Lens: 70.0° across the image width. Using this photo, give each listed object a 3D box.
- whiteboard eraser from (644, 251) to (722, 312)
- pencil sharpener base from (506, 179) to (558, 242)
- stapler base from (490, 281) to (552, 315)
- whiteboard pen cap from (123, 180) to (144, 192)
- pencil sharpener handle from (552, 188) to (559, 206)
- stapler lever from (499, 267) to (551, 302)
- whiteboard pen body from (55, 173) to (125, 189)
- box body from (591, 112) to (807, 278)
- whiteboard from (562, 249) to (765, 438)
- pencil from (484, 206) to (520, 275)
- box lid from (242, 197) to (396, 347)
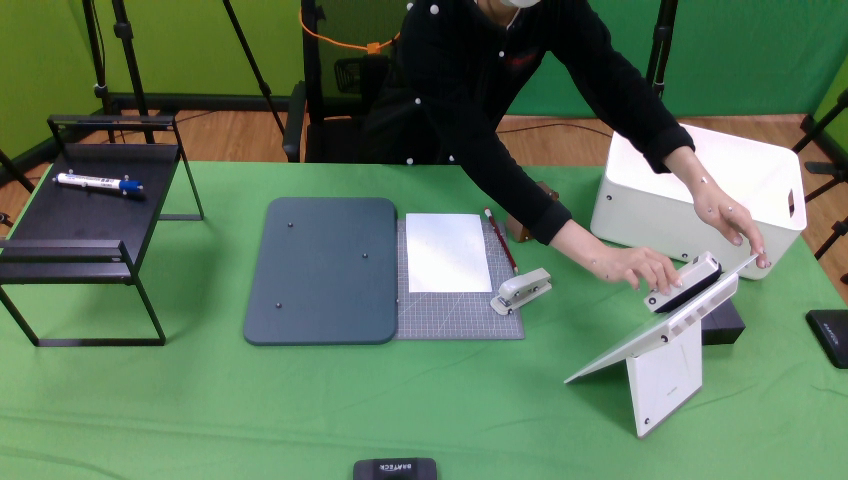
[{"bbox_3d":[0.377,0.064,0.883,0.042,0.113,0.055,50,28,4],"label":"whiteboard eraser"},{"bbox_3d":[0.216,-0.059,1.211,0.077,0.107,0.061,-16,49,-19],"label":"pencil sharpener base"},{"bbox_3d":[0.182,0.094,1.118,0.130,0.024,0.041,-24,57,-29],"label":"stapler base"},{"bbox_3d":[-0.479,-0.089,0.993,0.033,0.018,0.018,7,46,14],"label":"whiteboard pen cap"},{"bbox_3d":[0.261,-0.084,1.221,0.031,0.068,0.036,-16,65,-19],"label":"pencil sharpener handle"},{"bbox_3d":[0.185,0.076,1.101,0.118,0.040,0.026,-25,57,-29],"label":"stapler lever"},{"bbox_3d":[-0.539,-0.095,0.998,0.141,0.017,0.017,6,46,6],"label":"whiteboard pen body"},{"bbox_3d":[0.540,-0.092,1.229,0.363,0.161,0.253,16,47,11],"label":"box body"},{"bbox_3d":[0.387,0.176,0.905,0.217,0.306,0.143,-26,72,-26],"label":"whiteboard"},{"bbox_3d":[0.157,-0.002,1.218,0.012,0.012,0.192,-10,48,-13],"label":"pencil"},{"bbox_3d":[-0.186,0.046,1.147,0.263,0.015,0.369,0,46,-3],"label":"box lid"}]
